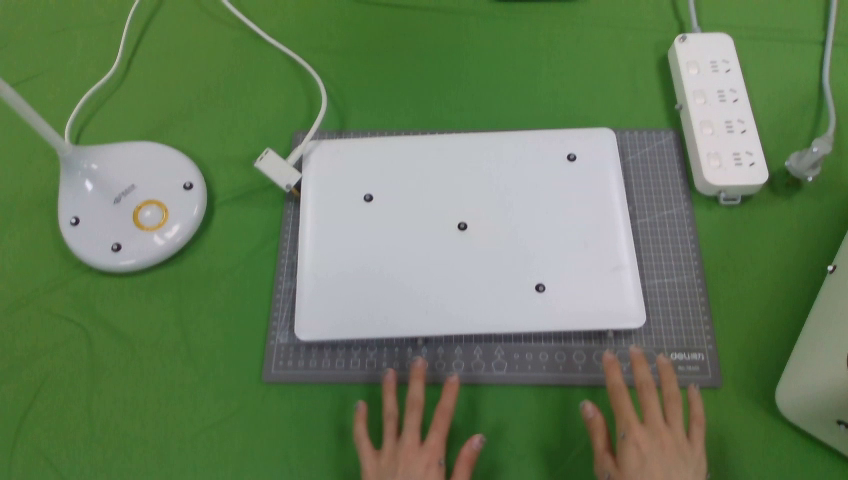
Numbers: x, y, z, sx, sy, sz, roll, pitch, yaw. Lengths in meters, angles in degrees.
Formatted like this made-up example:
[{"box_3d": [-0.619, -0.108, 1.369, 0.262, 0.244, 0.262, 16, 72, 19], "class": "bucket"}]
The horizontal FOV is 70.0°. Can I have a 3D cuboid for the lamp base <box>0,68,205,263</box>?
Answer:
[{"box_3d": [-0.338, -0.085, 0.603, 0.178, 0.181, 0.160, 26, 70, 15], "class": "lamp base"}]

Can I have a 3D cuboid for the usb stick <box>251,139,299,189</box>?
[{"box_3d": [-0.158, -0.081, 0.664, 0.027, 0.060, 0.021, -49, 29, -7], "class": "usb stick"}]

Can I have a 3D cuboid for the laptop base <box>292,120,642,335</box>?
[{"box_3d": [0.040, -0.018, 0.653, 0.354, 0.023, 0.234, -2, 71, 1], "class": "laptop base"}]

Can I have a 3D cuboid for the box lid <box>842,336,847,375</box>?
[{"box_3d": [0.509, 0.023, 0.463, 0.262, 0.015, 0.370, 32, 72, 14], "class": "box lid"}]

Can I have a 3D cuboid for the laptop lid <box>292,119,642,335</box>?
[{"box_3d": [0.039, -0.020, 0.641, 0.357, 0.013, 0.240, -1, 70, 1], "class": "laptop lid"}]

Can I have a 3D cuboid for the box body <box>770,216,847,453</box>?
[{"box_3d": [0.510, 0.054, 0.532, 0.253, 0.161, 0.363, 32, 72, 14], "class": "box body"}]

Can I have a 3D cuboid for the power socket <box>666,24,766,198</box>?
[{"box_3d": [0.330, -0.156, 0.694, 0.072, 0.033, 0.225, 0, 67, 0], "class": "power socket"}]

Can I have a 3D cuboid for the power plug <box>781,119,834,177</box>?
[{"box_3d": [0.423, -0.096, 0.662, 0.073, 0.053, 0.035, -22, 65, -25], "class": "power plug"}]
